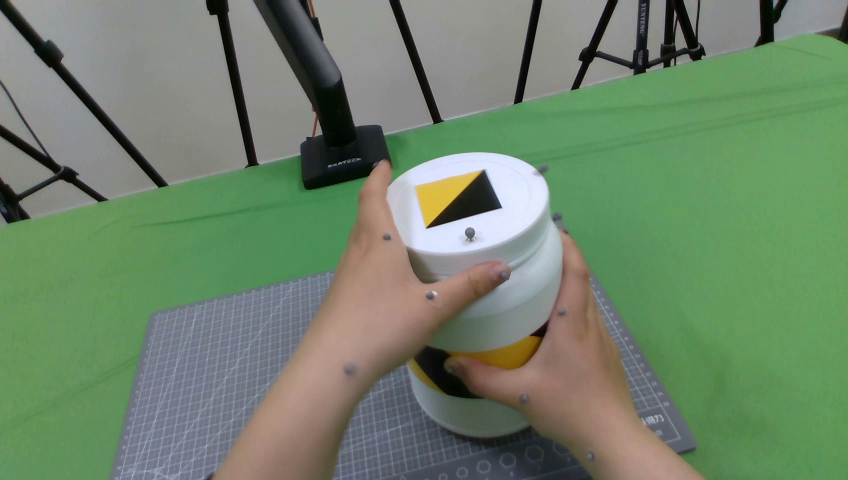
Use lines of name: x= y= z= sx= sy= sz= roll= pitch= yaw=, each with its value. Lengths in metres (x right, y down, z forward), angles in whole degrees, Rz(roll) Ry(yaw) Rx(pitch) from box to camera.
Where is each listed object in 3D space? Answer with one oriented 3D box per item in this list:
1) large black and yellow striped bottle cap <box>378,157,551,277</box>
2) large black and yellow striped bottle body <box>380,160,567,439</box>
large black and yellow striped bottle cap: x=0.026 y=-0.019 z=0.403 sx=0.115 sy=0.019 sz=0.114 roll=-8 pitch=37 yaw=6
large black and yellow striped bottle body: x=0.040 y=0.045 z=0.456 sx=0.130 sy=0.186 sz=0.129 roll=-7 pitch=39 yaw=6
